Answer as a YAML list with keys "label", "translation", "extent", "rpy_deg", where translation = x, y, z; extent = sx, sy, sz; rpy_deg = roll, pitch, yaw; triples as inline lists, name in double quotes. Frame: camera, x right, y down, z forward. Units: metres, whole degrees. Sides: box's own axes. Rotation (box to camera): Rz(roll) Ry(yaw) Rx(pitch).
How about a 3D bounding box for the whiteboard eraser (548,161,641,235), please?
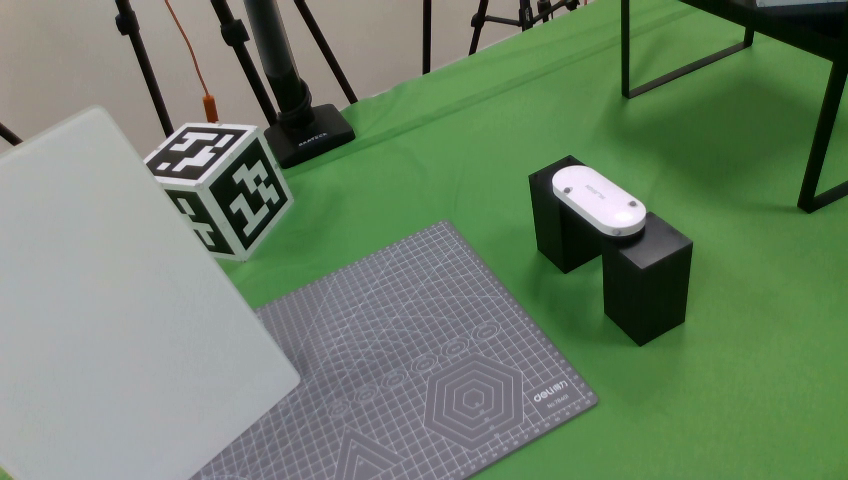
- label: "whiteboard eraser"
  translation: [0.148, -0.040, 0.531]
  extent: [0.041, 0.019, 0.100]
  rpy_deg: [-26, 43, -13]

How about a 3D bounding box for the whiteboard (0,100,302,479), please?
- label: "whiteboard"
  translation: [-0.296, 0.069, 0.533]
  extent: [0.217, 0.308, 0.143]
  rpy_deg: [-41, 27, -24]
